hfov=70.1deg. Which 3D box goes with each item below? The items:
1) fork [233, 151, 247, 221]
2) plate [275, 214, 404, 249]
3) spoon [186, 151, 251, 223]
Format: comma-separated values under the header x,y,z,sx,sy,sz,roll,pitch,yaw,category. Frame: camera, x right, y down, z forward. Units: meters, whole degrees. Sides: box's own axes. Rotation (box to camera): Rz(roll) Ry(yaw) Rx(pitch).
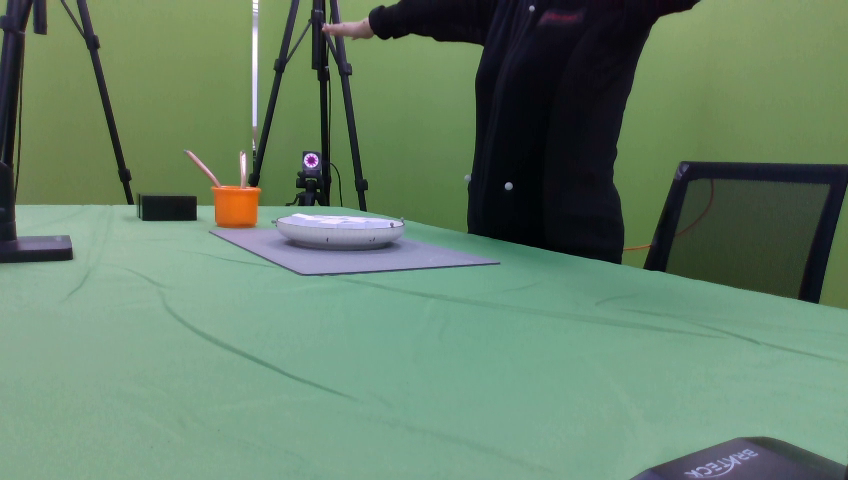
x,y,z,sx,sy,sz,roll,pitch,yaw,category
-0.366,-0.112,1.215,0.028,0.018,0.206,16,44,-29,fork
-0.136,-0.013,0.982,0.208,0.039,0.207,3,7,0,plate
-0.401,-0.103,1.176,0.021,0.193,0.042,-41,-9,25,spoon
